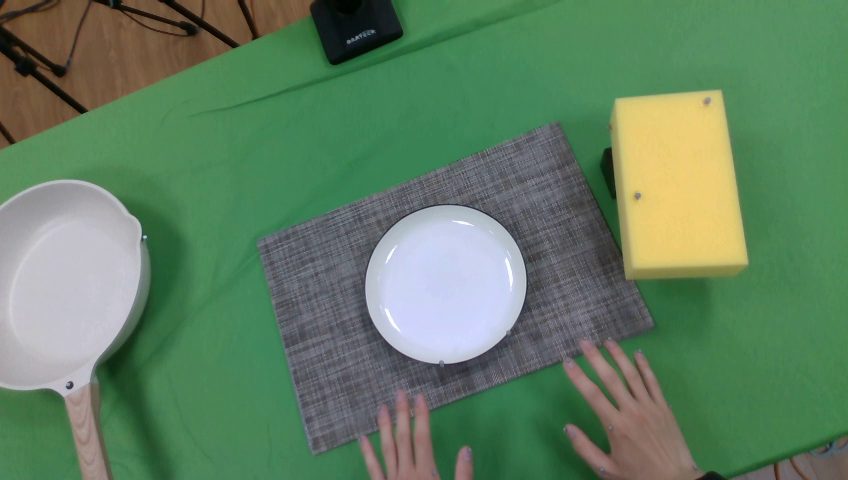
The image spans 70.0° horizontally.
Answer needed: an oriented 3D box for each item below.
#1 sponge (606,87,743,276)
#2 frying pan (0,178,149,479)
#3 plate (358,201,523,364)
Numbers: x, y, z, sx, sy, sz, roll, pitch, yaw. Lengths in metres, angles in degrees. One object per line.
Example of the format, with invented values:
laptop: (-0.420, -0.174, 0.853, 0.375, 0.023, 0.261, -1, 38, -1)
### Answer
sponge: (0.281, -0.066, 0.696, 0.118, 0.061, 0.205, -4, 74, 9)
frying pan: (-0.471, 0.141, 0.802, 0.307, 0.103, 0.483, -29, 64, 3)
plate: (0.021, 0.055, 0.770, 0.207, 0.039, 0.206, -3, 75, 9)
